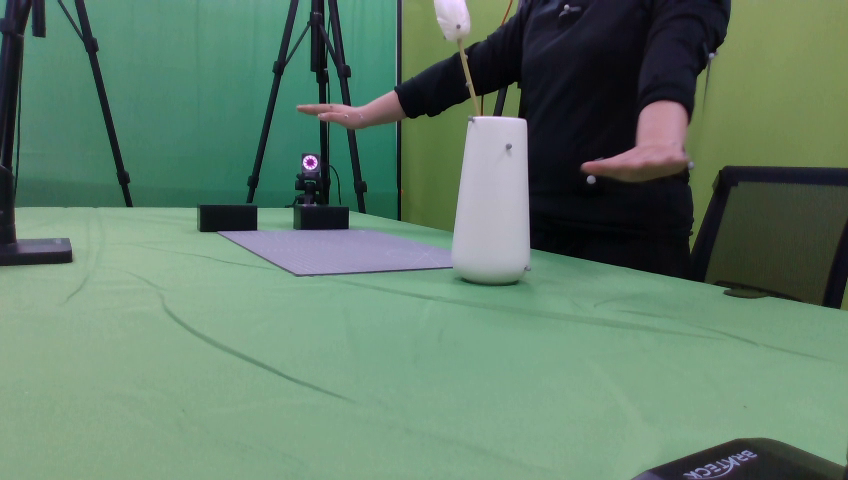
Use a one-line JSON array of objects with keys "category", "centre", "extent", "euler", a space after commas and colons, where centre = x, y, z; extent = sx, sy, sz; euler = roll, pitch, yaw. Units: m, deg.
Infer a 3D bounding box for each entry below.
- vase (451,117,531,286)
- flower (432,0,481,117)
[{"category": "vase", "centre": [0.083, -0.047, 0.737], "extent": [0.098, 0.200, 0.098], "euler": [1, 6, 0]}, {"category": "flower", "centre": [0.071, -0.129, 0.736], "extent": [0.038, 0.361, 0.044], "euler": [-16, -2, 41]}]
